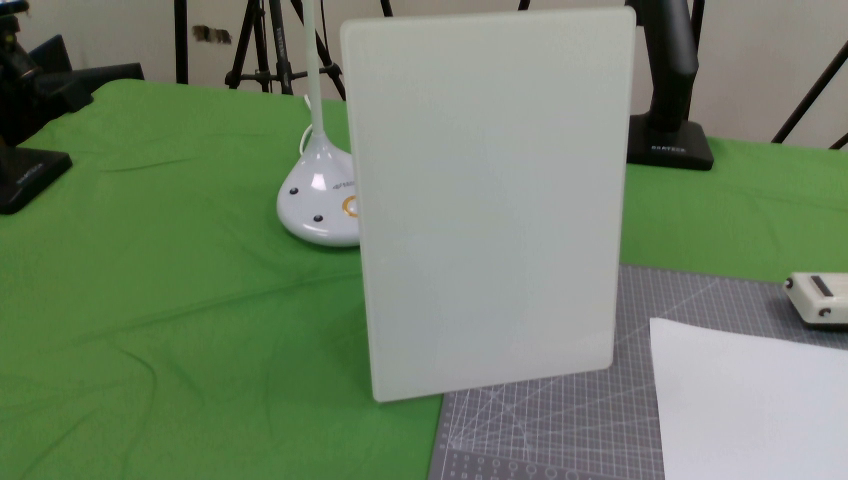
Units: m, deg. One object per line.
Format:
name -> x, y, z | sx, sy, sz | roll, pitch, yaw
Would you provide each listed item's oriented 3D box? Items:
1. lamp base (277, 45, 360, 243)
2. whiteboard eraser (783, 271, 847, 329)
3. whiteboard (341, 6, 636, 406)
lamp base -> -0.100, -0.114, 0.680 | 0.161, 0.182, 0.177 | -25, 44, -29
whiteboard eraser -> 0.419, 0.059, 0.592 | 0.113, 0.042, 0.055 | 2, 40, 0
whiteboard -> 0.046, -0.037, 0.538 | 0.217, 0.307, 0.142 | -6, 21, -8
